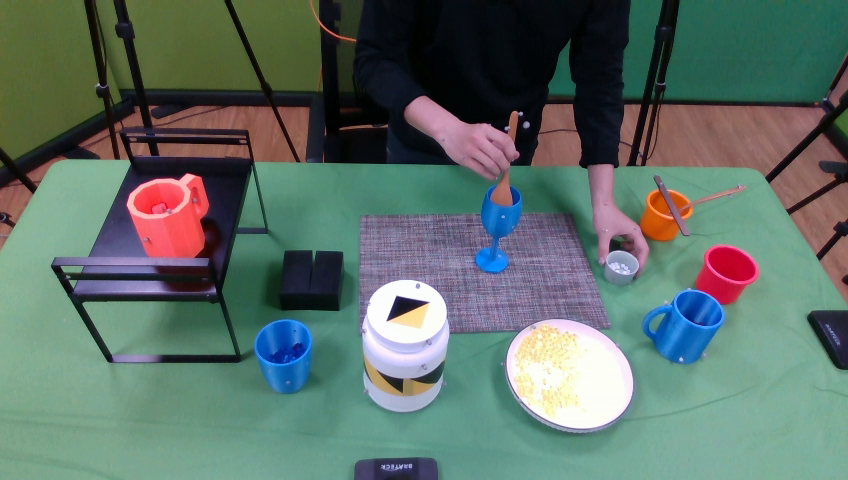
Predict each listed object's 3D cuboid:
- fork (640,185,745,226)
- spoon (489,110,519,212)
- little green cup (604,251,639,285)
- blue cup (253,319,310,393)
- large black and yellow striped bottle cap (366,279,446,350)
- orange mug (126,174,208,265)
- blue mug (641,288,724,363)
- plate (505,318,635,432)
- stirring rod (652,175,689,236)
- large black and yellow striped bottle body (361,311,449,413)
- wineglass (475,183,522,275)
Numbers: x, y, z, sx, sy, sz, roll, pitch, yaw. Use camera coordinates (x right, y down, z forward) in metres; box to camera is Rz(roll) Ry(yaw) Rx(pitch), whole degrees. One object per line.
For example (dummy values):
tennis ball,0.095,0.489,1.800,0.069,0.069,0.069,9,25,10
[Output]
fork,0.534,-0.069,1.215,0.207,0.019,0.028,-26,27,33
spoon,0.137,-0.125,1.001,0.041,0.194,0.021,16,35,16
little green cup,0.375,0.055,1.161,0.061,0.039,0.061,4,46,-4
blue cup,-0.217,0.187,0.943,0.093,0.101,0.092,3,45,-3
large black and yellow striped bottle cap,-0.025,0.104,0.864,0.115,0.019,0.114,3,48,-3
orange mug,-0.371,-0.039,0.902,0.083,0.101,0.126,18,51,14
blue mug,0.432,0.144,1.033,0.116,0.106,0.082,8,46,4
plate,0.235,0.221,0.991,0.209,0.038,0.208,2,45,-2
stirring rod,0.491,-0.072,1.212,0.014,0.006,0.175,-1,47,-5
large black and yellow striped bottle body,-0.031,0.163,0.924,0.131,0.185,0.130,2,46,-2
wineglass,0.135,-0.020,1.115,0.074,0.173,0.073,2,46,-2
